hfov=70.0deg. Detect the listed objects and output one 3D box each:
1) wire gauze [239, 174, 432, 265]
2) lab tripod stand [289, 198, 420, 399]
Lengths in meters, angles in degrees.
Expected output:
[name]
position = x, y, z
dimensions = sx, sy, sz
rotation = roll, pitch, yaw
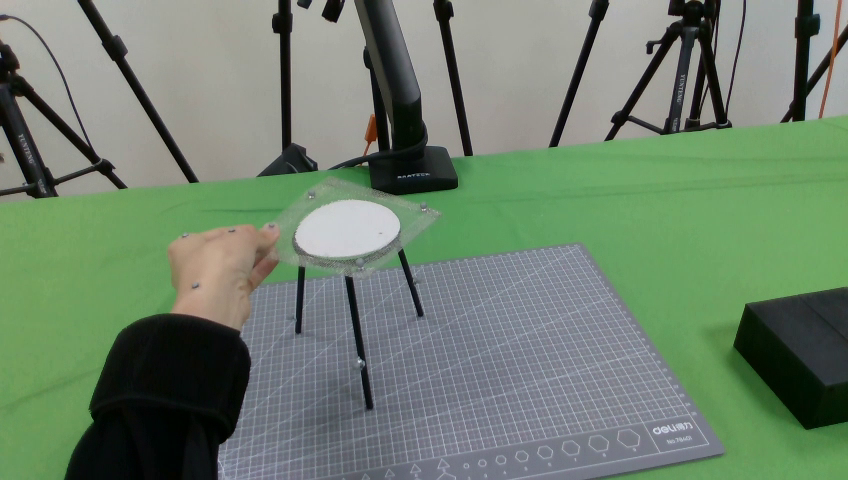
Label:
[wire gauze]
position = -0.063, -0.024, 0.483
dimensions = 0.125, 0.011, 0.120
rotation = 10, 31, 4
[lab tripod stand]
position = -0.061, 0.043, 0.533
dimensions = 0.148, 0.132, 0.147
rotation = -1, 35, 1
